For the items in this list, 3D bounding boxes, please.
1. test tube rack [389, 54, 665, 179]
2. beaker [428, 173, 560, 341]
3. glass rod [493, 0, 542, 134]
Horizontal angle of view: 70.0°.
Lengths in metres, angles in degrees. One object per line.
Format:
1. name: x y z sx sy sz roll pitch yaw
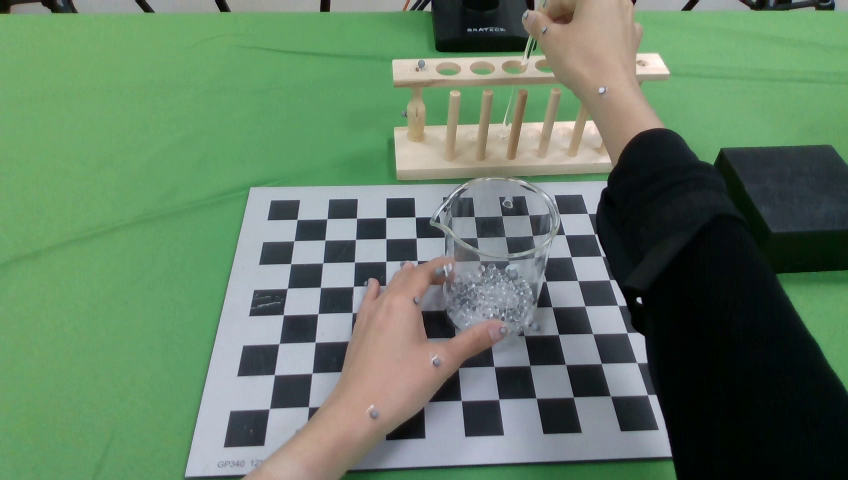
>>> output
1. test tube rack: 0.091 -0.113 0.554 0.242 0.086 0.066 -2 47 -4
2. beaker: 0.044 0.016 0.418 0.084 0.101 0.073 -1 47 -1
3. glass rod: 0.085 -0.168 0.514 0.008 0.201 0.008 6 50 -7
